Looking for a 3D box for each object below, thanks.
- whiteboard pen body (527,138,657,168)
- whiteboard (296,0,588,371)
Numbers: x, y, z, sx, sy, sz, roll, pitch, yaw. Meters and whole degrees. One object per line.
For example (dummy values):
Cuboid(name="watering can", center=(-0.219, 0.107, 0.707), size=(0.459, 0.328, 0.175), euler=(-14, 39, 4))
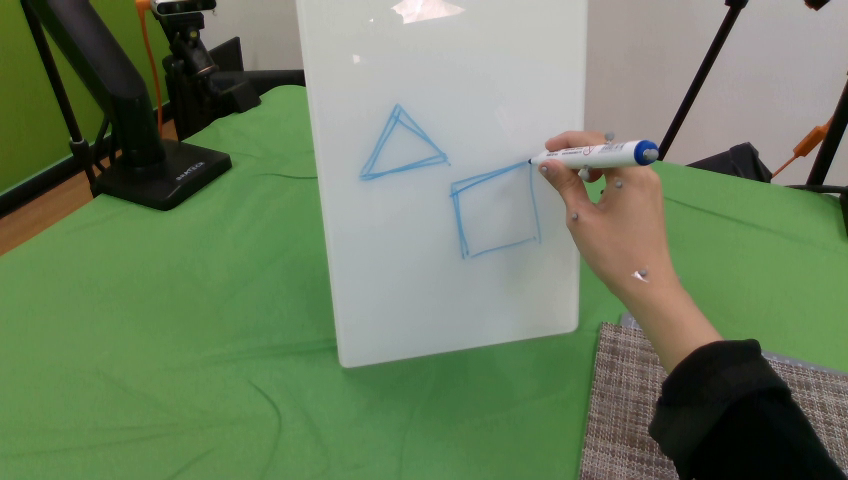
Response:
Cuboid(name="whiteboard pen body", center=(0.109, -0.059, 0.422), size=(0.017, 0.017, 0.140), euler=(-14, 10, -19))
Cuboid(name="whiteboard", center=(0.013, -0.068, 0.540), size=(0.218, 0.307, 0.142), euler=(-7, 19, -10))
